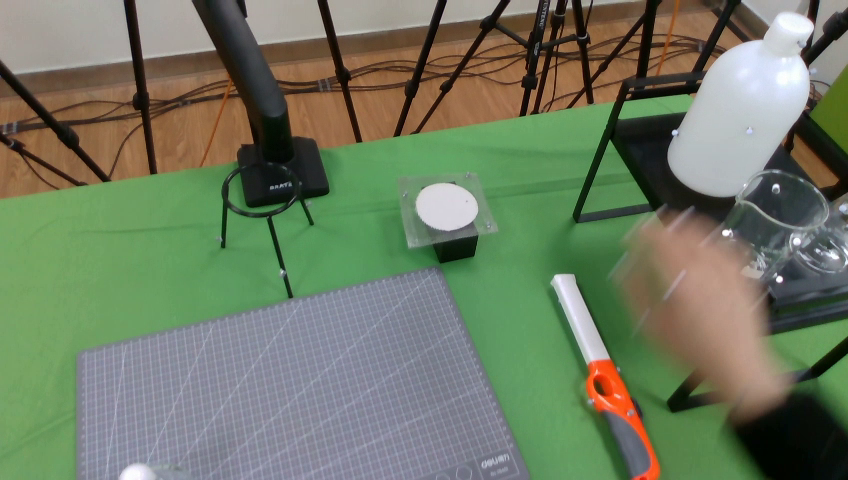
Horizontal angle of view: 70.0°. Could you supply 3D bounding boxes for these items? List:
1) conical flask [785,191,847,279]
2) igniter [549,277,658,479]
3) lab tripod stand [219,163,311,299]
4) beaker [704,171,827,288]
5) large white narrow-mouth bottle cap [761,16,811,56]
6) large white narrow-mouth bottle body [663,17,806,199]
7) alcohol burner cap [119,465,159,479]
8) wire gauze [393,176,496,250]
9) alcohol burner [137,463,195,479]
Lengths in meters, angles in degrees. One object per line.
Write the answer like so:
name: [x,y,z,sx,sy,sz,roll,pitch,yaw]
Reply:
conical flask: [0.423,-0.023,0.599,0.075,0.123,0.074,2,51,-2]
igniter: [0.211,0.159,0.728,0.057,0.025,0.273,-1,50,-19]
lab tripod stand: [-0.197,-0.017,0.766,0.148,0.132,0.147,4,51,-4]
beaker: [0.324,-0.006,0.593,0.084,0.101,0.073,4,51,0]
large white narrow-mouth bottle cap: [0.342,-0.193,0.572,0.038,0.024,0.037,3,51,-3]
large white narrow-mouth bottle body: [0.335,-0.140,0.639,0.102,0.196,0.101,3,51,-3]
alcohol burner cap: [-0.251,0.218,0.534,0.034,0.048,0.033,0,47,0]
wire gauze: [0.025,-0.042,0.823,0.122,0.011,0.123,-6,52,-10]
alcohol burner: [-0.253,0.241,0.563,0.078,0.120,0.077,4,49,-4]
